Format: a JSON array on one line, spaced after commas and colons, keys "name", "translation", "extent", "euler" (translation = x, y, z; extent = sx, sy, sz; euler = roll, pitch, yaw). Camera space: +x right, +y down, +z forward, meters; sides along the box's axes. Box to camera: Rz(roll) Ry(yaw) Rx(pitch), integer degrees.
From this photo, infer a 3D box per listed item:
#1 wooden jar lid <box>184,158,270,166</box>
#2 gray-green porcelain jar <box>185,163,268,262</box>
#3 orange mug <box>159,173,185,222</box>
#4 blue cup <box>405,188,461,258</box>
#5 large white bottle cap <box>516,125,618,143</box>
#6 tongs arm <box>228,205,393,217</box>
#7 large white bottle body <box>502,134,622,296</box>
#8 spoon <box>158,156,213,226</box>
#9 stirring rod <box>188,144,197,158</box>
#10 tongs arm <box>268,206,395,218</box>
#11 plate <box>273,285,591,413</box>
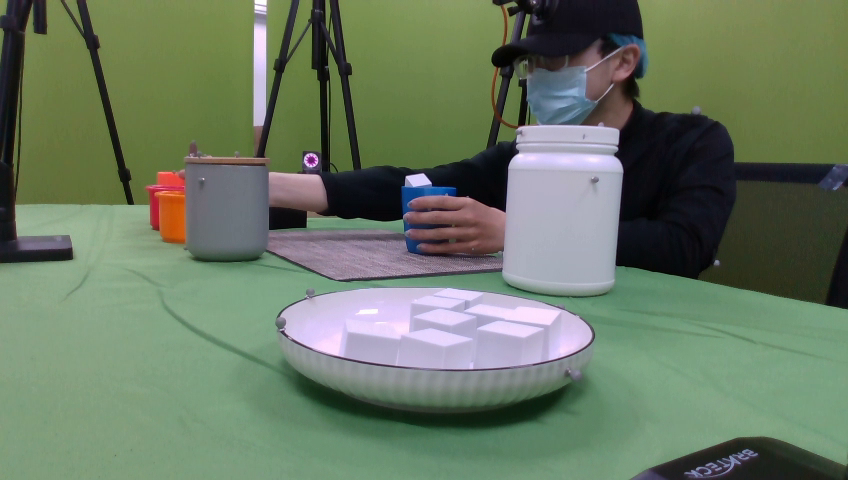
[{"name": "wooden jar lid", "translation": [-0.260, -0.099, 0.801], "extent": [0.108, 0.020, 0.108], "euler": [0, 9, 0]}, {"name": "gray-green porcelain jar", "translation": [-0.263, -0.038, 0.808], "extent": [0.106, 0.126, 0.106], "euler": [3, 8, 0]}, {"name": "orange mug", "translation": [-0.477, -0.089, 1.241], "extent": [0.127, 0.101, 0.083], "euler": [-7, 11, -33]}, {"name": "blue cup", "translation": [0.010, -0.026, 0.921], "extent": [0.093, 0.100, 0.092], "euler": [4, 9, 0]}, {"name": "large white bottle cap", "translation": [0.163, -0.120, 0.695], "extent": [0.115, 0.018, 0.115], "euler": [2, 8, 0]}, {"name": "tongs arm", "translation": [-0.267, -0.069, 1.453], "extent": [0.389, 0.027, 0.028], "euler": [0, -1, -18]}, {"name": "large white bottle body", "translation": [0.160, -0.036, 0.706], "extent": [0.131, 0.184, 0.130], "euler": [2, 7, 0]}, {"name": "spoon", "translation": [-0.435, -0.094, 1.121], "extent": [0.041, 0.022, 0.193], "euler": [5, 51, 13]}, {"name": "stirring rod", "translation": [-0.378, -0.088, 0.986], "extent": [0.006, 0.175, 0.014], "euler": [-32, -37, 31]}, {"name": "tongs arm", "translation": [-0.230, -0.064, 1.379], "extent": [0.387, 0.026, 0.050], "euler": [-1, 2, -31]}, {"name": "plate", "translation": [0.004, 0.069, 0.407], "extent": [0.208, 0.039, 0.207], "euler": [2, 7, 0]}]
